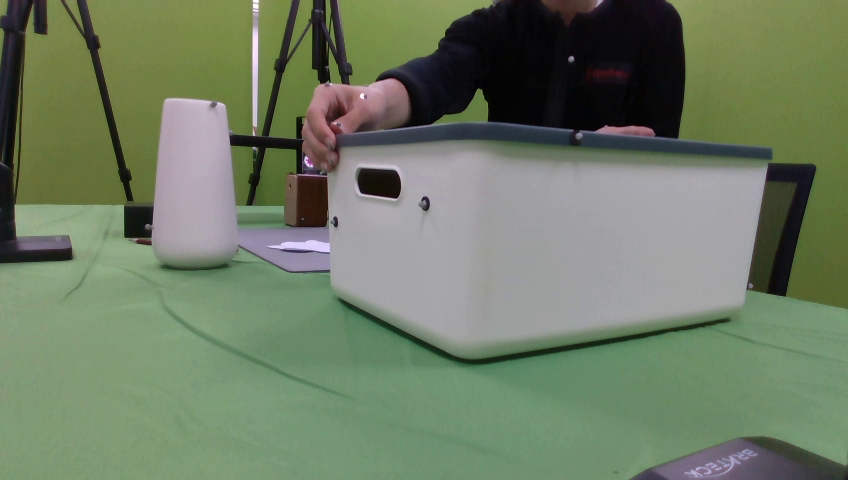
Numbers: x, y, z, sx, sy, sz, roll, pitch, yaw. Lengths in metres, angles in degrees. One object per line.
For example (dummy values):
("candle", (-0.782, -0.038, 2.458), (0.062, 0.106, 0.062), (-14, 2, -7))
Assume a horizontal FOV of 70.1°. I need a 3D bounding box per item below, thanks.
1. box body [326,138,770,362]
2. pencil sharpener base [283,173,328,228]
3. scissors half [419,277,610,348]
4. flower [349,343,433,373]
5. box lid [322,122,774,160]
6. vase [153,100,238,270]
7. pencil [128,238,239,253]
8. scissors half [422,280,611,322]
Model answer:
("box body", (0.112, -0.010, 0.583), (0.366, 0.160, 0.253), (-2, 9, -33))
("pencil sharpener base", (-0.239, -0.081, 1.231), (0.077, 0.107, 0.061), (-2, 8, -36))
("scissors half", (0.076, 0.067, 0.533), (0.174, 0.040, 0.013), (14, 50, 24))
("flower", (0.103, 0.072, 0.592), (0.362, 0.044, 0.038), (-16, 44, -9))
("box lid", (0.114, -0.086, 0.573), (0.373, 0.015, 0.262), (-2, 7, -33))
("vase", (-0.278, -0.066, 0.736), (0.098, 0.200, 0.098), (2, 9, 0))
("pencil", (-0.350, 0.007, 0.873), (0.193, 0.012, 0.012), (4, 8, 18))
("scissors half", (0.073, 0.057, 0.524), (0.174, 0.040, 0.013), (5, 40, 30))
